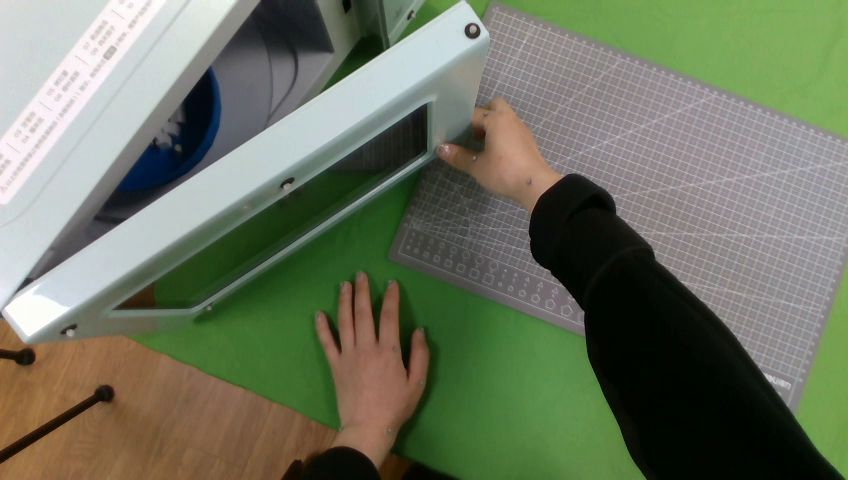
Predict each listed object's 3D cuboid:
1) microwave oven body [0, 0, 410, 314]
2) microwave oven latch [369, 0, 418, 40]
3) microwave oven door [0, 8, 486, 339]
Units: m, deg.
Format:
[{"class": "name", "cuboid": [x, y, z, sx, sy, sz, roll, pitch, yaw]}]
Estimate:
[{"class": "microwave oven body", "cuboid": [-0.248, -0.197, 0.517, 0.326, 0.260, 0.441, 35, 87, 2]}, {"class": "microwave oven latch", "cuboid": [-0.025, -0.247, 0.619, 0.030, 0.029, 0.079, 38, 87, 2]}, {"class": "microwave oven door", "cuboid": [-0.112, -0.036, 0.500, 0.356, 0.244, 0.039, -34, 85, -3]}]
